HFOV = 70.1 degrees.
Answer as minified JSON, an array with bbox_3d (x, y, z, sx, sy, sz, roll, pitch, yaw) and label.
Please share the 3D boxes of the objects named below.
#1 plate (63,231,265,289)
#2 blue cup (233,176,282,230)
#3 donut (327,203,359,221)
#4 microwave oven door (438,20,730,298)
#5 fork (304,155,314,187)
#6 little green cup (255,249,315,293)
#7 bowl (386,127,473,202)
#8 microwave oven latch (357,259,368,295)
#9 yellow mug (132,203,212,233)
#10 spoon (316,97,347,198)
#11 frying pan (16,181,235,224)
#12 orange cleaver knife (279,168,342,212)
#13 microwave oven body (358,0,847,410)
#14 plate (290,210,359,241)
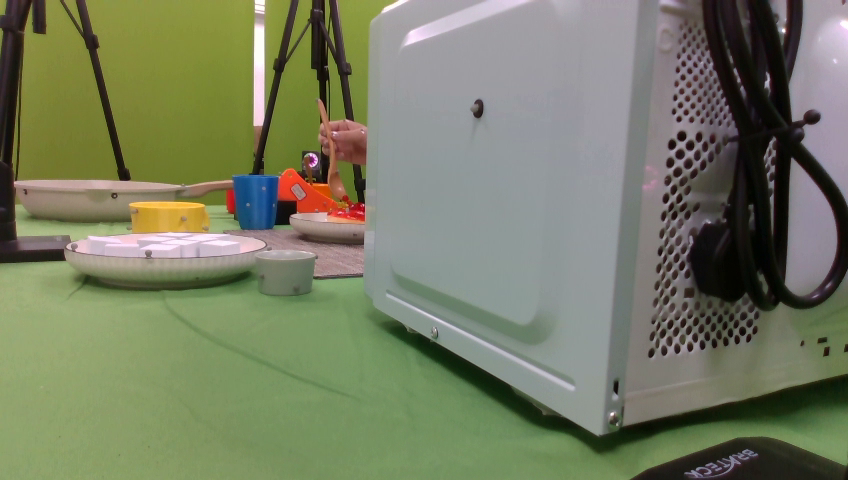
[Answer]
[{"bbox_3d":[-0.288,0.021,0.687,0.208,0.039,0.207,2,8,0],"label":"plate"},{"bbox_3d":[-0.314,-0.071,1.141,0.093,0.100,0.092,0,7,0],"label":"blue cup"},{"bbox_3d":[-0.120,-0.037,1.056,0.099,0.048,0.099,5,7,0],"label":"donut"},{"bbox_3d":[0.181,-0.076,0.618,0.358,0.243,0.039,-2,8,-28],"label":"microwave oven door"},{"bbox_3d":[-0.268,-0.134,1.446,0.028,0.018,0.207,2,-36,-1],"label":"fork"},{"bbox_3d":[-0.144,0.031,0.627,0.061,0.038,0.061,2,6,0],"label":"little green cup"},{"bbox_3d":[0.020,-0.114,1.001,0.151,0.076,0.151,-20,-14,-5],"label":"bowl"},{"bbox_3d":[-0.019,0.031,0.529,0.079,0.029,0.030,-1,7,-26],"label":"microwave oven latch"},{"bbox_3d":[-0.356,-0.020,0.878,0.099,0.064,0.131,4,7,22],"label":"yellow mug"},{"bbox_3d":[-0.166,-0.165,1.077,0.021,0.193,0.042,-16,-10,32],"label":"spoon"},{"bbox_3d":[-0.554,-0.097,1.266,0.490,0.102,0.305,-10,13,-24],"label":"frying pan"},{"bbox_3d":[-0.236,-0.084,1.333,0.212,0.077,0.012,31,-9,-31],"label":"orange cleaver knife"},{"bbox_3d":[0.210,-0.051,0.471,0.444,0.260,0.324,-1,7,-28],"label":"microwave oven body"},{"bbox_3d":[-0.127,-0.025,1.051,0.209,0.038,0.209,2,7,0],"label":"plate"}]
